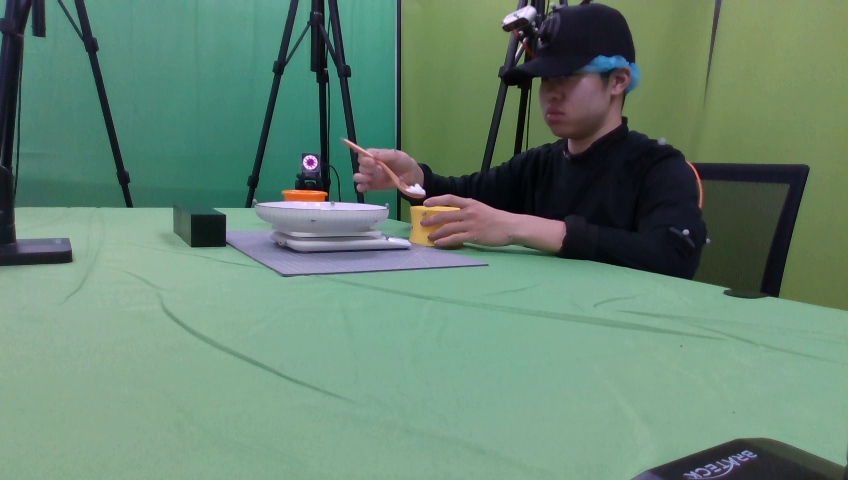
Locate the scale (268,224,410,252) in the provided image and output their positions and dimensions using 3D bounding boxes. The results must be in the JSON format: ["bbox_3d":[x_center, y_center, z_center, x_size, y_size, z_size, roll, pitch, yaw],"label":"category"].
[{"bbox_3d":[-0.137,-0.006,0.979,0.202,0.031,0.148,-1,8,-30],"label":"scale"}]

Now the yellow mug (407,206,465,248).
[{"bbox_3d":[0.026,-0.027,1.104,0.099,0.064,0.131,7,7,20],"label":"yellow mug"}]

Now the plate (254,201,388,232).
[{"bbox_3d":[-0.161,-0.037,0.961,0.209,0.038,0.209,2,6,0],"label":"plate"}]

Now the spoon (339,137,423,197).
[{"bbox_3d":[-0.079,-0.132,1.077,0.193,0.021,0.042,41,21,17],"label":"spoon"}]
